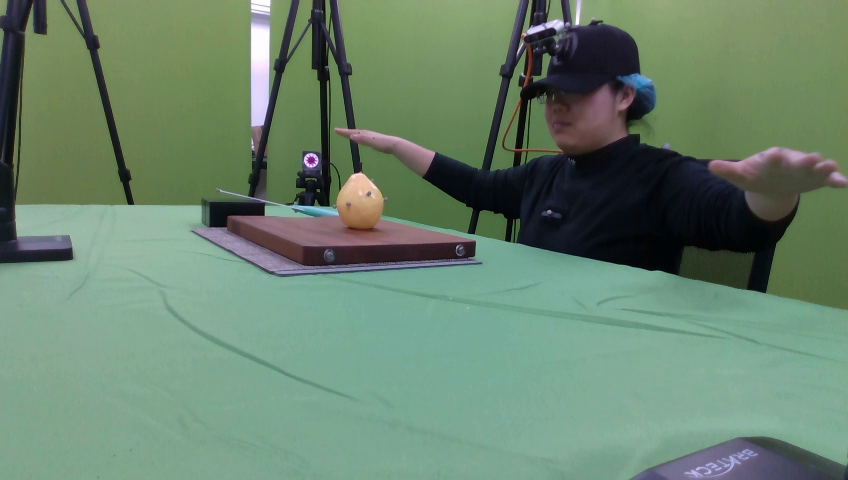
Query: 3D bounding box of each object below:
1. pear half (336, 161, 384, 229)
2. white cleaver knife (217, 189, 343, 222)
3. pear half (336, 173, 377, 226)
[{"bbox_3d":[-0.099,-0.072,0.972,0.077,0.110,0.055,-7,11,-31],"label":"pear half"},{"bbox_3d":[-0.275,-0.066,1.233,0.288,0.021,0.065,11,6,-29],"label":"white cleaver knife"},{"bbox_3d":[-0.116,-0.067,1.004,0.071,0.088,0.031,-11,13,-31],"label":"pear half"}]
